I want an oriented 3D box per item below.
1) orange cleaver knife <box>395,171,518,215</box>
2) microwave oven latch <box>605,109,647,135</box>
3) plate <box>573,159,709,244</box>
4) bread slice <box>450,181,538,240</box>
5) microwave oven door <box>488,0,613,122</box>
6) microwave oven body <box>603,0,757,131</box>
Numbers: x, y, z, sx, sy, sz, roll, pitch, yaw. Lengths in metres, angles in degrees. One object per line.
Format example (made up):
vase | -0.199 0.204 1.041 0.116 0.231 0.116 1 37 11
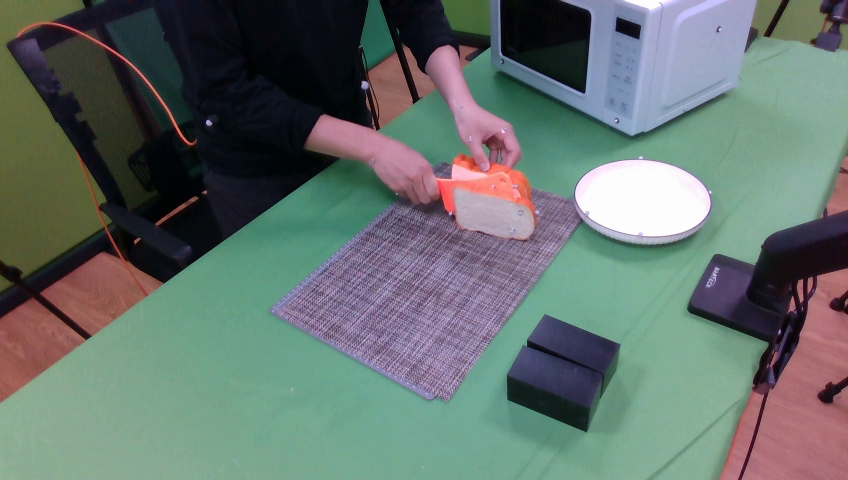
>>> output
orange cleaver knife | 0.052 -0.074 0.967 0.210 0.077 0.012 4 32 25
microwave oven latch | 0.378 -0.225 1.139 0.030 0.029 0.078 -26 43 -19
plate | 0.347 -0.059 0.979 0.207 0.039 0.206 -4 41 4
bread slice | 0.109 -0.044 0.935 0.133 0.107 0.018 11 57 22
microwave oven door | 0.250 -0.412 1.219 0.039 0.245 0.352 -27 44 -21
microwave oven body | 0.396 -0.448 1.248 0.327 0.261 0.437 -27 44 -21
